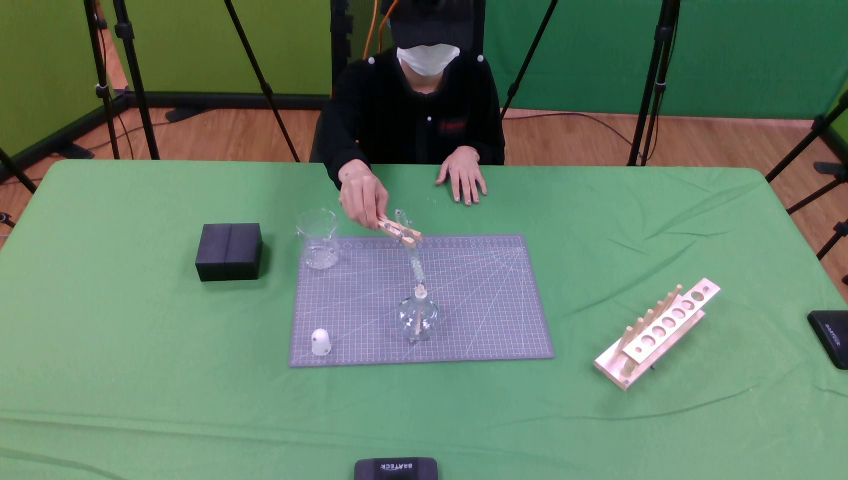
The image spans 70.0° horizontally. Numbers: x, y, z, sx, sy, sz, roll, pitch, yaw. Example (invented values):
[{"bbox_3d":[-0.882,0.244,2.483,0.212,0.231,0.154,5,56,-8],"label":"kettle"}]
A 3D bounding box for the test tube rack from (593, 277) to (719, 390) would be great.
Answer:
[{"bbox_3d":[0.401,0.148,1.043,0.242,0.085,0.066,-30,55,-29],"label":"test tube rack"}]

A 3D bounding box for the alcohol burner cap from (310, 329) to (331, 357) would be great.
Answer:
[{"bbox_3d":[-0.173,0.168,1.005,0.034,0.048,0.033,2,46,-2],"label":"alcohol burner cap"}]

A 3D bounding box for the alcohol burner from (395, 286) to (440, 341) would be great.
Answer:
[{"bbox_3d":[-0.010,0.116,1.018,0.078,0.119,0.077,3,47,-3],"label":"alcohol burner"}]

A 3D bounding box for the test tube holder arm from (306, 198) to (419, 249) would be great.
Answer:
[{"bbox_3d":[-0.093,-0.026,0.912,0.178,0.013,0.015,23,50,-1],"label":"test tube holder arm"}]

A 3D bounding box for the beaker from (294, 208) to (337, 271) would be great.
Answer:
[{"bbox_3d":[-0.196,0.003,1.122,0.074,0.101,0.083,-23,52,-24],"label":"beaker"}]

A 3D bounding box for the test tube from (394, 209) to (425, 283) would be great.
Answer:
[{"bbox_3d":[-0.021,0.013,0.926,0.017,0.151,0.017,-9,43,8],"label":"test tube"}]

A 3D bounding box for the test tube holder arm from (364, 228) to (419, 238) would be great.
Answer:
[{"bbox_3d":[-0.051,-0.010,0.910,0.087,0.010,0.015,1,44,22],"label":"test tube holder arm"}]
